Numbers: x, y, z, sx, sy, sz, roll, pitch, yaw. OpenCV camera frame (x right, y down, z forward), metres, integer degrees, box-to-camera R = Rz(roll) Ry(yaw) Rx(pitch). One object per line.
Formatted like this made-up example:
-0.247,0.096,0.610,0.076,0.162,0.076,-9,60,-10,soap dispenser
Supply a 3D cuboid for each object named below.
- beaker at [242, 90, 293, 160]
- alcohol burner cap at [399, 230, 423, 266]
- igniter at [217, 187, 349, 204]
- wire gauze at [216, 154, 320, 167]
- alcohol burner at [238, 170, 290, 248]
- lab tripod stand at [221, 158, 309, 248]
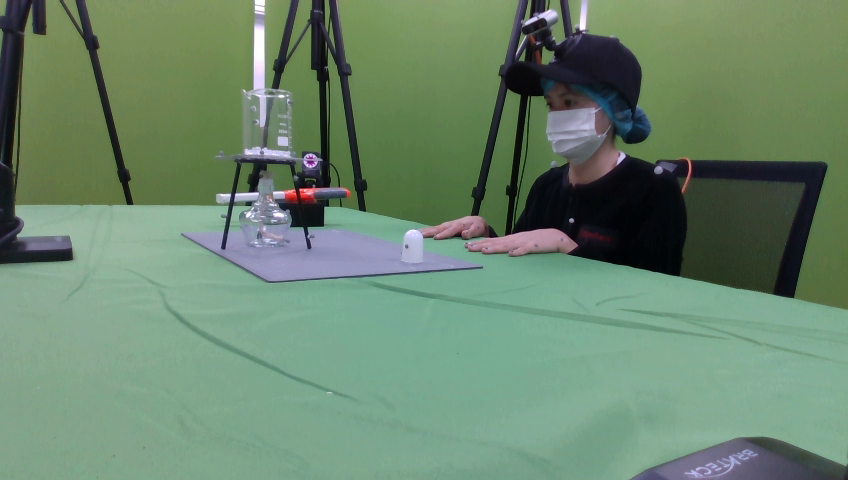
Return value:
-0.235,-0.169,0.900,0.074,0.100,0.084,4,7,23,beaker
-0.017,0.010,0.837,0.034,0.048,0.034,3,7,0,alcohol burner cap
-0.285,-0.093,1.256,0.278,0.025,0.057,-6,12,-34,igniter
-0.236,-0.121,0.906,0.126,0.011,0.121,0,8,-33,wire gauze
-0.244,-0.048,0.927,0.078,0.119,0.078,3,5,0,alcohol burner
-0.244,-0.057,0.917,0.148,0.131,0.148,1,7,0,lab tripod stand
